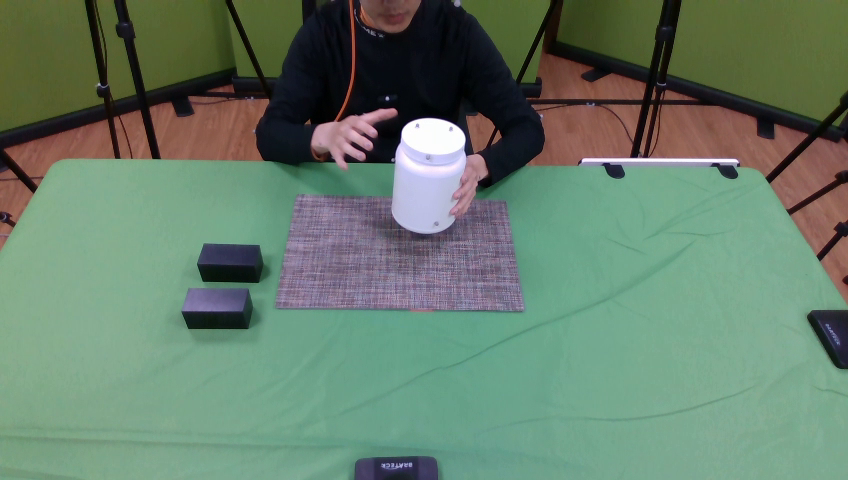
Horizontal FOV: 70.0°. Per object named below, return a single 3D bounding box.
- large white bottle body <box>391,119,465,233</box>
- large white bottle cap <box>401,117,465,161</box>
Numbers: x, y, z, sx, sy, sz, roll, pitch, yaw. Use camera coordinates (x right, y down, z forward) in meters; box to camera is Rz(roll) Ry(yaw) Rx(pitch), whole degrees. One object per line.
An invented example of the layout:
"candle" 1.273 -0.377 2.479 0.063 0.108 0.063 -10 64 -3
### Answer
"large white bottle body" 0.007 -0.120 1.133 0.131 0.185 0.130 4 43 -4
"large white bottle cap" 0.016 -0.180 1.075 0.115 0.018 0.114 4 44 -4
